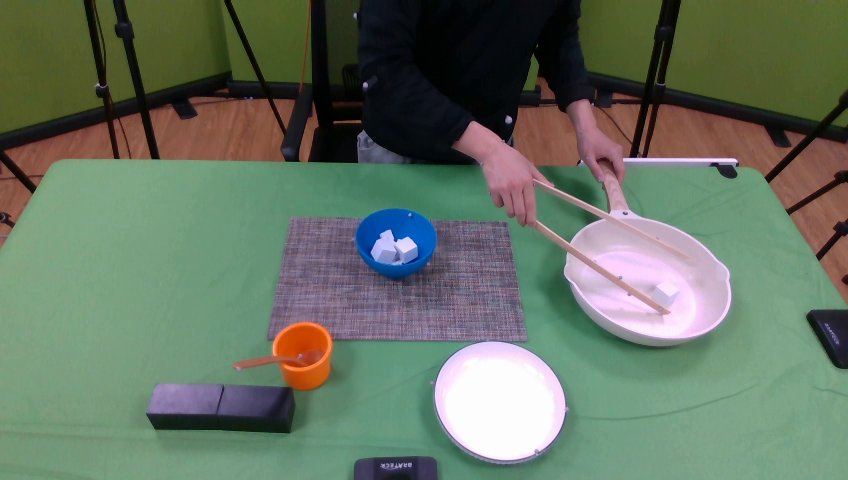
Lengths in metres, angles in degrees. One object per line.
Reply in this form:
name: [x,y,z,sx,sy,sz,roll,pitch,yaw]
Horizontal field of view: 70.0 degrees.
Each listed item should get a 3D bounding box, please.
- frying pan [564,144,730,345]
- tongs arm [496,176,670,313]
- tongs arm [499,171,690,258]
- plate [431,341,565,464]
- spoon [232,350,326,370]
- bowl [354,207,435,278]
frying pan: [0.396,-0.008,1.179,0.307,0.103,0.484,0,55,-5]
tongs arm: [0.287,0.012,1.085,0.385,0.026,0.050,32,74,-6]
tongs arm: [0.316,-0.043,1.104,0.388,0.028,0.028,24,79,-9]
plate: [0.114,0.255,0.951,0.208,0.039,0.206,3,46,-2]
spoon: [-0.216,0.182,0.920,0.041,0.194,0.021,44,102,27]
bowl: [-0.055,0.018,1.131,0.151,0.077,0.150,2,46,-2]
